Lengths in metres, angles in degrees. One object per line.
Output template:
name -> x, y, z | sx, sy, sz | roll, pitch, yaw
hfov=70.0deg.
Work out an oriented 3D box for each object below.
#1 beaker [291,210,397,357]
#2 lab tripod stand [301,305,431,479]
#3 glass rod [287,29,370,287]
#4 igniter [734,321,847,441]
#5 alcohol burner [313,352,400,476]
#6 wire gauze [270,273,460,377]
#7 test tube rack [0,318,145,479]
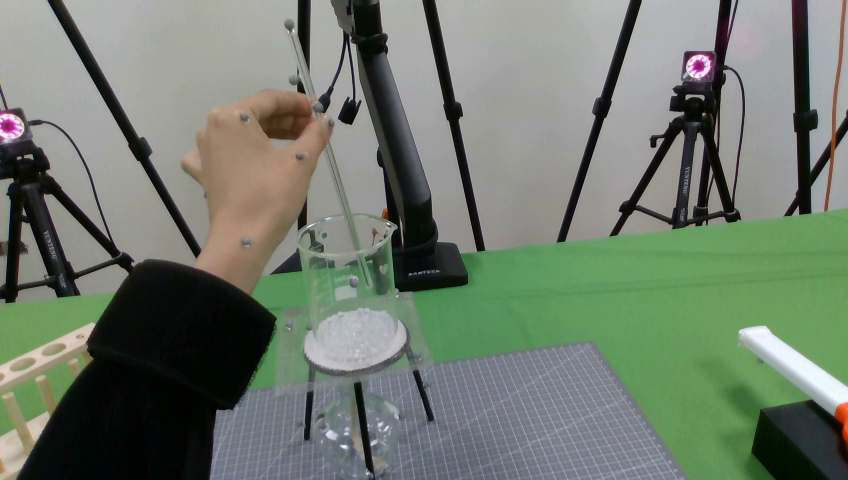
beaker -> -0.057, 0.035, 0.483 | 0.084, 0.101, 0.073 | -17, 31, -26
lab tripod stand -> -0.052, 0.138, 0.532 | 0.148, 0.132, 0.147 | -1, 27, 1
glass rod -> -0.066, -0.048, 0.434 | 0.008, 0.201, 0.008 | -10, 29, 6
igniter -> 0.351, 0.141, 0.491 | 0.057, 0.025, 0.274 | -8, 23, -7
alcohol burner -> -0.060, 0.148, 0.535 | 0.078, 0.120, 0.077 | -1, 26, 1
wire gauze -> -0.052, 0.066, 0.493 | 0.125, 0.011, 0.120 | -12, 25, -27
test tube rack -> -0.401, 0.174, 0.566 | 0.066, 0.086, 0.242 | 16, 32, 35
